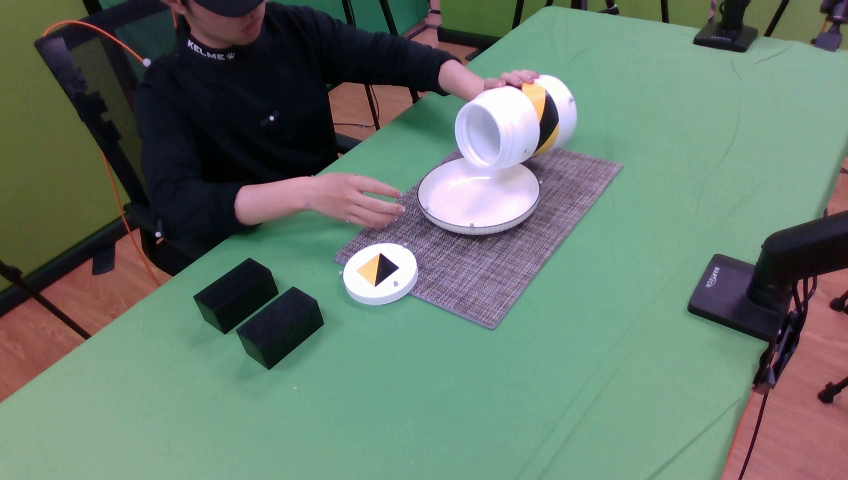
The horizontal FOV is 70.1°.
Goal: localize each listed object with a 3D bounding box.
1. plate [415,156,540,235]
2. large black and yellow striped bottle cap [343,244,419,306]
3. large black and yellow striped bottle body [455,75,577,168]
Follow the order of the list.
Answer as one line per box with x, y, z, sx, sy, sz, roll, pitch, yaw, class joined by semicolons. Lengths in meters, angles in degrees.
0.090;-0.074;1.025;0.207;0.039;0.206;-4;41;4;plate
-0.066;0.051;0.918;0.115;0.019;0.114;-6;43;6;large black and yellow striped bottle cap
0.154;-0.197;1.021;0.185;0.131;0.129;-24;42;-35;large black and yellow striped bottle body
